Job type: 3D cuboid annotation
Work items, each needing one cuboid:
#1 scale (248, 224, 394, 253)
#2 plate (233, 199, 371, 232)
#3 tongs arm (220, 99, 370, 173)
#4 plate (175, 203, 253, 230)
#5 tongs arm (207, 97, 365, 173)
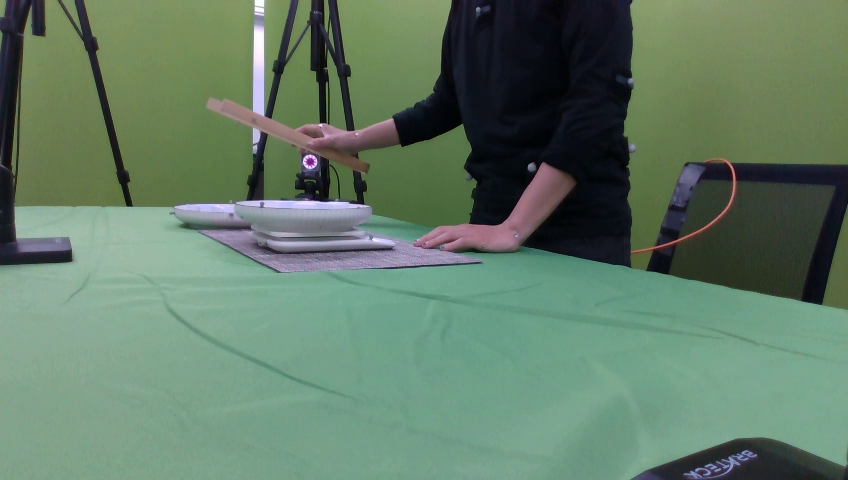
[{"bbox_3d":[-0.162,-0.006,0.954,0.202,0.031,0.148,-2,8,-32],"label":"scale"},{"bbox_3d":[-0.188,-0.039,0.939,0.209,0.038,0.209,2,7,0],"label":"plate"},{"bbox_3d":[-0.269,-0.222,1.341,0.390,0.028,0.028,20,-3,-41],"label":"tongs arm"},{"bbox_3d":[-0.381,-0.047,1.199,0.208,0.039,0.207,3,7,0],"label":"plate"},{"bbox_3d":[-0.305,-0.238,1.402,0.387,0.026,0.050,21,0,-30],"label":"tongs arm"}]
